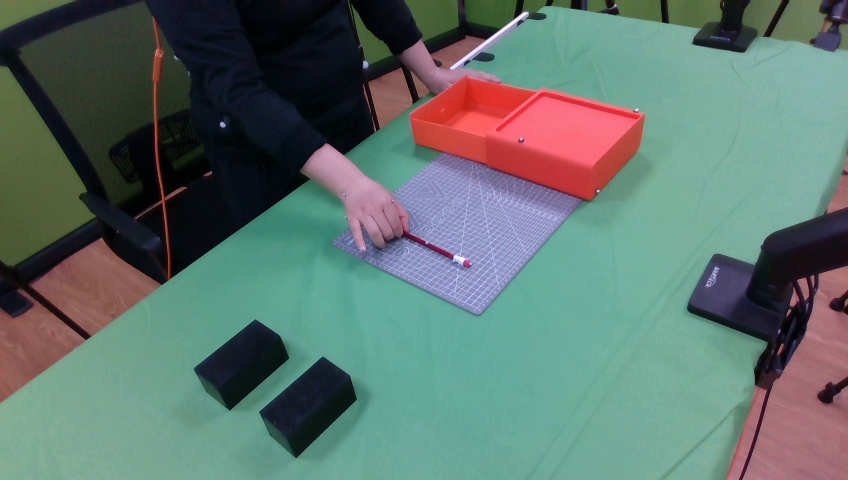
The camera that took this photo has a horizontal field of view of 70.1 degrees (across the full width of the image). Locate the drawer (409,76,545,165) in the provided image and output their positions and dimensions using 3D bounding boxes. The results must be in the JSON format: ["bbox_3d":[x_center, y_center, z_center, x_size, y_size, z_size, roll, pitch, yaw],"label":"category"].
[{"bbox_3d":[0.113,-0.237,1.190,0.210,0.073,0.195,22,48,33],"label":"drawer"}]

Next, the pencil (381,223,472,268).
[{"bbox_3d":[-0.001,0.005,0.970,0.192,0.012,0.012,25,50,35],"label":"pencil"}]

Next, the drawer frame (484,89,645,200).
[{"bbox_3d":[0.253,-0.180,1.094,0.212,0.083,0.202,24,48,31],"label":"drawer frame"}]
